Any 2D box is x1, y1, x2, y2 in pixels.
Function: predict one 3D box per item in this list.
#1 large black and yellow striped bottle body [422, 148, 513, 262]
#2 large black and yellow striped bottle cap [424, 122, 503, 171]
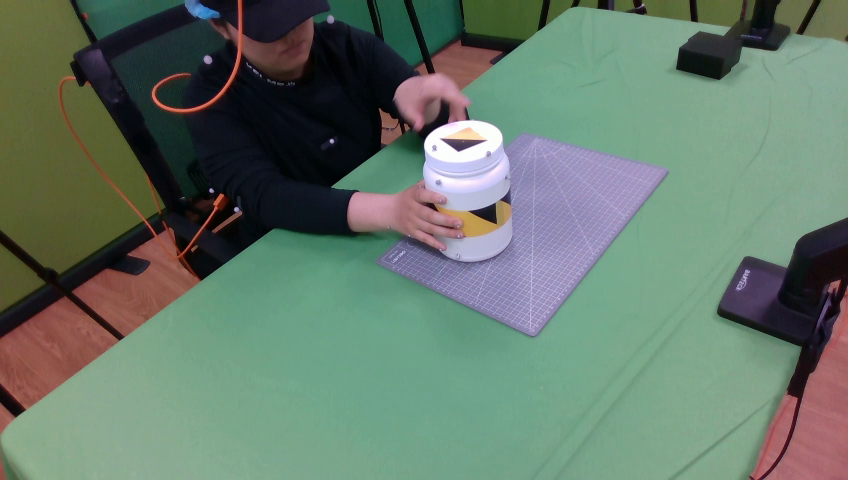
[{"bbox_3d":[0.068,-0.072,0.926,0.131,0.185,0.130,-5,40,5],"label":"large black and yellow striped bottle body"},{"bbox_3d":[0.057,-0.137,0.871,0.115,0.019,0.114,-4,38,4],"label":"large black and yellow striped bottle cap"}]
